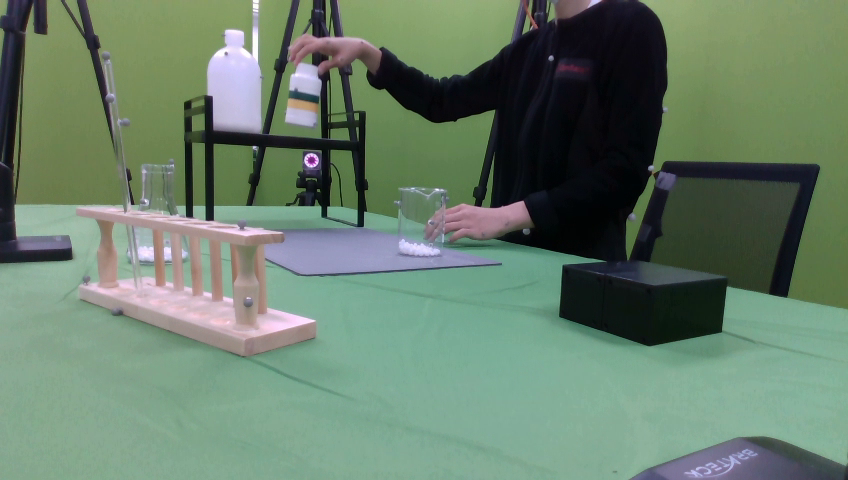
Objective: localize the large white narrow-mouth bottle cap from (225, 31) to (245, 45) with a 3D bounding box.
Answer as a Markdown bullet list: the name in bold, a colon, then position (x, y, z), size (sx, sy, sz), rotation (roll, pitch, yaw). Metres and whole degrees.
- **large white narrow-mouth bottle cap**: position (-0.365, -0.389, 1.166), size (0.038, 0.024, 0.037), rotation (2, 9, 0)

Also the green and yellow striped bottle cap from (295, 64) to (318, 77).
- **green and yellow striped bottle cap**: position (-0.238, -0.343, 1.228), size (0.045, 0.020, 0.045), rotation (14, 10, -2)

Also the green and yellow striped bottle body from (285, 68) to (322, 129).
- **green and yellow striped bottle body**: position (-0.245, -0.292, 1.235), size (0.063, 0.119, 0.063), rotation (10, 8, -1)

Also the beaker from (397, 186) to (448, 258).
- **beaker**: position (-0.002, -0.027, 0.890), size (0.074, 0.100, 0.084), rotation (0, 8, -11)

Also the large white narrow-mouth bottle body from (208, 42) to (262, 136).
- **large white narrow-mouth bottle body**: position (-0.368, -0.304, 1.181), size (0.102, 0.194, 0.101), rotation (2, 9, 0)

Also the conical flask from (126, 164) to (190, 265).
- **conical flask**: position (-0.332, -0.033, 0.756), size (0.075, 0.122, 0.075), rotation (2, 7, 0)

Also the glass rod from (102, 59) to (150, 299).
- **glass rod**: position (-0.243, -0.045, 0.496), size (0.008, 0.199, 0.008), rotation (-4, 13, 1)

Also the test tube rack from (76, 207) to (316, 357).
- **test tube rack**: position (-0.196, 0.023, 0.500), size (0.241, 0.085, 0.067), rotation (8, 9, 36)
